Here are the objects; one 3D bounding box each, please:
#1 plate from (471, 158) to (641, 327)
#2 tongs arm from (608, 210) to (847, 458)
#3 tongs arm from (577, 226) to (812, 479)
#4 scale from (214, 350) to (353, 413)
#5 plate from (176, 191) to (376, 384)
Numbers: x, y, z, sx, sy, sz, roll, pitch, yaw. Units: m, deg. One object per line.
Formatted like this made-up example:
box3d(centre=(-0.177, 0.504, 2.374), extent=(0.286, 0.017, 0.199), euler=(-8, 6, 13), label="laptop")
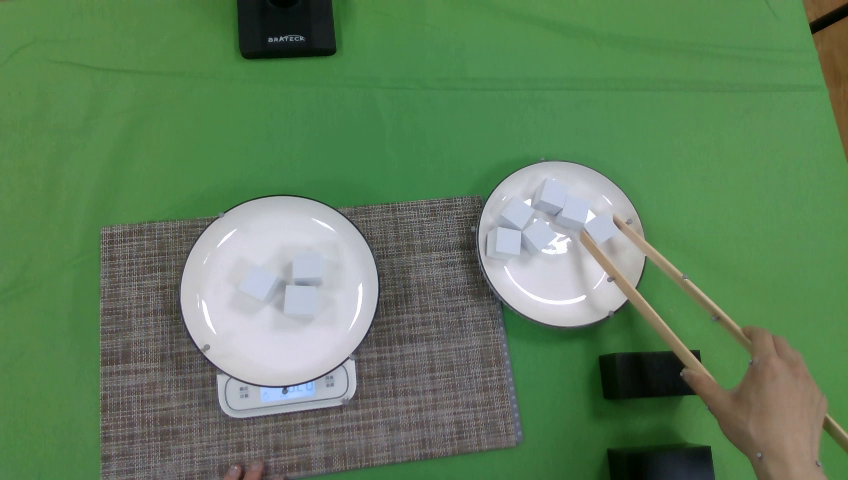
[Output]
box3d(centre=(0.157, 0.004, 0.737), extent=(0.208, 0.039, 0.206), euler=(2, 76, -6), label="plate")
box3d(centre=(0.305, 0.103, 0.627), extent=(0.051, 0.027, 0.380), euler=(-31, 55, -11), label="tongs arm")
box3d(centre=(0.280, 0.117, 0.623), extent=(0.028, 0.028, 0.383), euler=(-27, 54, -12), label="tongs arm")
box3d(centre=(-0.161, 0.086, 0.682), extent=(0.149, 0.031, 0.200), euler=(-5, 78, -7), label="scale")
box3d(centre=(-0.156, 0.049, 0.657), extent=(0.209, 0.038, 0.208), euler=(2, 77, -6), label="plate")
